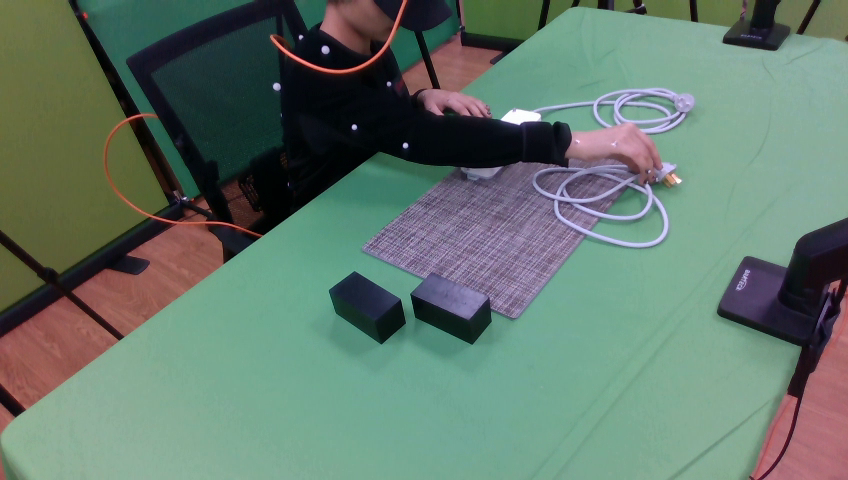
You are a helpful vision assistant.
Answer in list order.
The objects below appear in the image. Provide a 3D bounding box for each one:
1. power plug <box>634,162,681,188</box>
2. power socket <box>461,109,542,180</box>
[{"bbox_3d":[0.396,-0.102,1.026,0.072,0.035,0.052,-35,68,-4],"label":"power plug"},{"bbox_3d":[0.151,-0.188,1.162,0.071,0.033,0.227,21,48,30],"label":"power socket"}]
